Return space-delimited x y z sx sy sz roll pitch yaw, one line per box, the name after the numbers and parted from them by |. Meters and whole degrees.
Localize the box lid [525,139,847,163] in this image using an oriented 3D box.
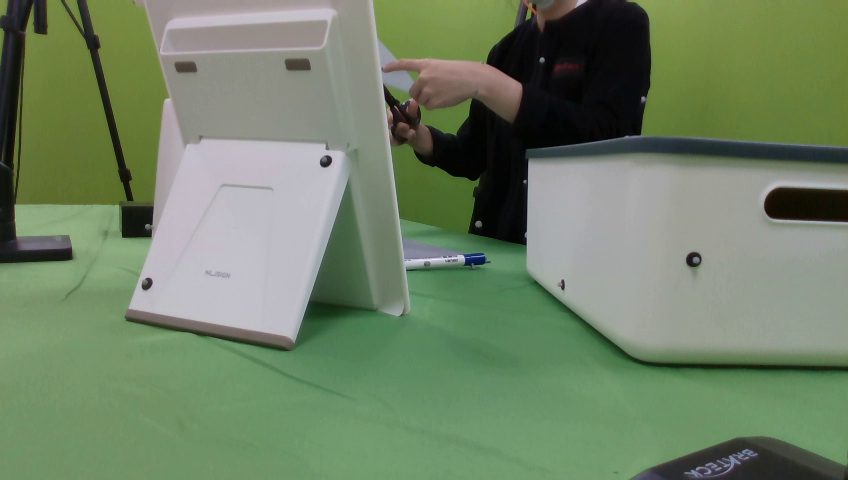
0.261 -0.078 0.580 0.264 0.015 0.371 2 7 -4 | box lid

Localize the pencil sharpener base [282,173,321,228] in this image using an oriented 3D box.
-0.247 -0.080 1.212 0.061 0.107 0.076 -2 5 -28 | pencil sharpener base

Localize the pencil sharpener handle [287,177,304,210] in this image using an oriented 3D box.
-0.269 -0.096 1.257 0.036 0.067 0.030 -8 8 -27 | pencil sharpener handle

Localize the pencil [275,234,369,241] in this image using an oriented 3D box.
-0.169 -0.006 1.036 0.195 0.012 0.012 -2 9 -45 | pencil

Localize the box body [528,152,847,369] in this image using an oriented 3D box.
0.257 -0.005 0.591 0.254 0.160 0.363 2 7 -4 | box body

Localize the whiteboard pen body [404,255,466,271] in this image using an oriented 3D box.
0.012 0.030 0.792 0.141 0.017 0.017 -3 9 -24 | whiteboard pen body

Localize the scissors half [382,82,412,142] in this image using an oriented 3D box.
-0.060 -0.234 1.077 0.012 0.040 0.176 28 -20 33 | scissors half

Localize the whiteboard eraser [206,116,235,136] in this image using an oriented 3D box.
-0.450 -0.252 1.335 0.056 0.042 0.112 1 7 -22 | whiteboard eraser

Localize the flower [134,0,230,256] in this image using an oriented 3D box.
-0.282 -0.147 0.713 0.038 0.362 0.044 -23 24 -31 | flower

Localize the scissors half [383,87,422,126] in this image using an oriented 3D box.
-0.049 -0.252 1.081 0.013 0.040 0.176 22 -1 32 | scissors half

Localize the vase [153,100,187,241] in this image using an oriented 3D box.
-0.278 -0.066 0.736 0.098 0.200 0.098 2 9 0 | vase

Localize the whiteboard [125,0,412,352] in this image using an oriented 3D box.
-0.151 -0.049 0.472 0.216 0.305 0.144 6 27 24 | whiteboard

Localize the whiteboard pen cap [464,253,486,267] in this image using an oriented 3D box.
0.066 0.027 0.818 0.033 0.018 0.018 -5 10 -24 | whiteboard pen cap
